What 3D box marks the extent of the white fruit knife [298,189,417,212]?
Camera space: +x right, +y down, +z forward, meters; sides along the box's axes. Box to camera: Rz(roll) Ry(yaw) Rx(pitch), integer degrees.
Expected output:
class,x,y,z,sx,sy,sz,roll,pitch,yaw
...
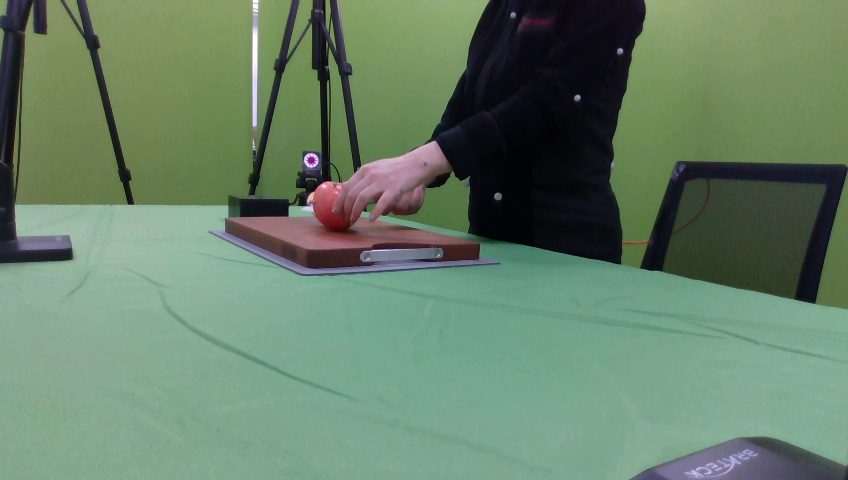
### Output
class,x,y,z,sx,sy,sz,roll,pitch,yaw
white fruit knife,-0.109,-0.066,1.015,0.208,0.016,0.027,-10,55,-26

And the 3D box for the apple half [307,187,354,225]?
class,x,y,z,sx,sy,sz,roll,pitch,yaw
apple half,-0.156,-0.049,1.006,0.081,0.081,0.033,0,-35,-19

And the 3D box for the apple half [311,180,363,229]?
class,x,y,z,sx,sy,sz,roll,pitch,yaw
apple half,-0.130,-0.051,0.942,0.081,0.074,0.053,-2,34,-41
